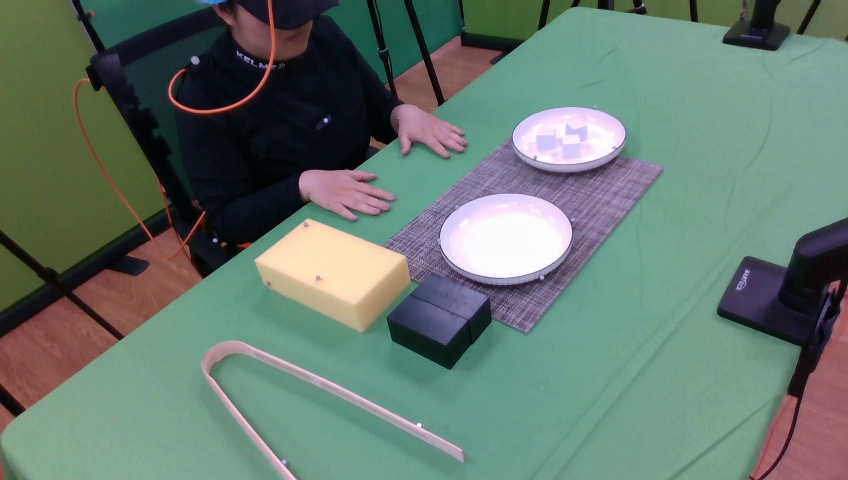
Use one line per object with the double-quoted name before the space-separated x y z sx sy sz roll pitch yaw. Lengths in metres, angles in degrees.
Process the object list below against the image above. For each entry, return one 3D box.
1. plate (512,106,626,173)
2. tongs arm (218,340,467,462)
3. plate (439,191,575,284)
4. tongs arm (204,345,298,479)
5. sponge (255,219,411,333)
"plate" 0.269 -0.185 1.132 0.209 0.038 0.208 -5 40 5
"tongs arm" -0.117 0.196 0.767 0.385 0.028 0.028 16 49 28
"plate" 0.129 -0.001 0.942 0.207 0.039 0.206 -5 40 5
"tongs arm" -0.170 0.238 0.721 0.381 0.026 0.051 28 51 37
"sponge" -0.139 0.048 0.922 0.205 0.061 0.118 19 47 30
